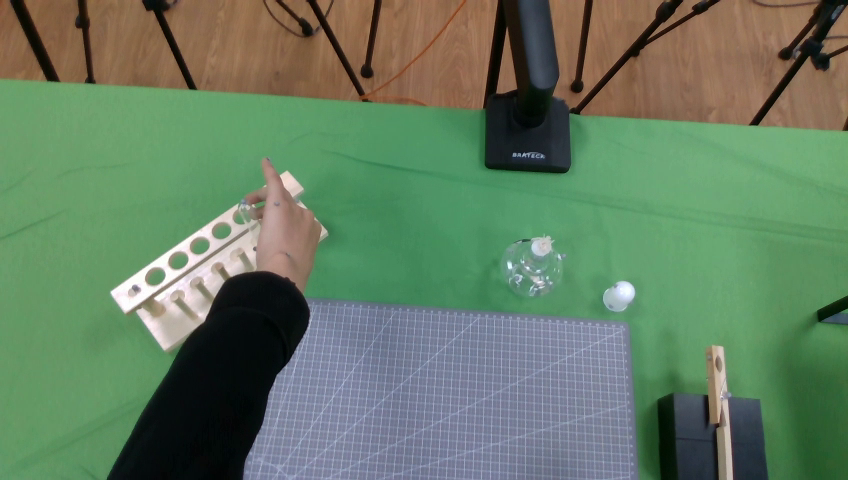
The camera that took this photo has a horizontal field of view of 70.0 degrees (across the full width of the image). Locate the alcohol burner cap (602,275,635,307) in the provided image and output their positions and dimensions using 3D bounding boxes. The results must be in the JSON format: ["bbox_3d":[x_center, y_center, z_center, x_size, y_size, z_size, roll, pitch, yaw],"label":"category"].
[{"bbox_3d":[0.247,0.062,0.762,0.034,0.048,0.033,1,67,-2],"label":"alcohol burner cap"}]

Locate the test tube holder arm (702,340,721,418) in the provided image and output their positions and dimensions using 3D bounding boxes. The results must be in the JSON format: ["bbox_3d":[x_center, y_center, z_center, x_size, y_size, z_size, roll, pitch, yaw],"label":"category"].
[{"bbox_3d":[0.326,0.157,0.686,0.010,0.015,0.087,7,68,-7],"label":"test tube holder arm"}]

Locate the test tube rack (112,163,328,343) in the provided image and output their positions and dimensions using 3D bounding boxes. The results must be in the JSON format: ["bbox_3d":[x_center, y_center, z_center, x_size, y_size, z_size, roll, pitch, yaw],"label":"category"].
[{"bbox_3d":[-0.239,0.016,0.740,0.242,0.086,0.066,-38,73,-15],"label":"test tube rack"}]

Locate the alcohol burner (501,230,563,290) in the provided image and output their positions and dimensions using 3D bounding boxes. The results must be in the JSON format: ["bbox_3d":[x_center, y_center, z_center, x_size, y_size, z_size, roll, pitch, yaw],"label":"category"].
[{"bbox_3d":[0.135,0.018,0.737,0.078,0.120,0.077,1,67,-3],"label":"alcohol burner"}]

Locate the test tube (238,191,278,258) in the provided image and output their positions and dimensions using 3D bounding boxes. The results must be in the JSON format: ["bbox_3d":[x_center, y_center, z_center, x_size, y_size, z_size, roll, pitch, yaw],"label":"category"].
[{"bbox_3d":[-0.192,-0.015,0.705,0.017,0.151,0.017,1,65,-1],"label":"test tube"}]

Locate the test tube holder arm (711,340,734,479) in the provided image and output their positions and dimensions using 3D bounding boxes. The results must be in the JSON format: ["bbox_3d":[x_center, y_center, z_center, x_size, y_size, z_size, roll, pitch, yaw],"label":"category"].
[{"bbox_3d":[0.328,0.200,0.670,0.013,0.015,0.177,6,69,-7],"label":"test tube holder arm"}]
